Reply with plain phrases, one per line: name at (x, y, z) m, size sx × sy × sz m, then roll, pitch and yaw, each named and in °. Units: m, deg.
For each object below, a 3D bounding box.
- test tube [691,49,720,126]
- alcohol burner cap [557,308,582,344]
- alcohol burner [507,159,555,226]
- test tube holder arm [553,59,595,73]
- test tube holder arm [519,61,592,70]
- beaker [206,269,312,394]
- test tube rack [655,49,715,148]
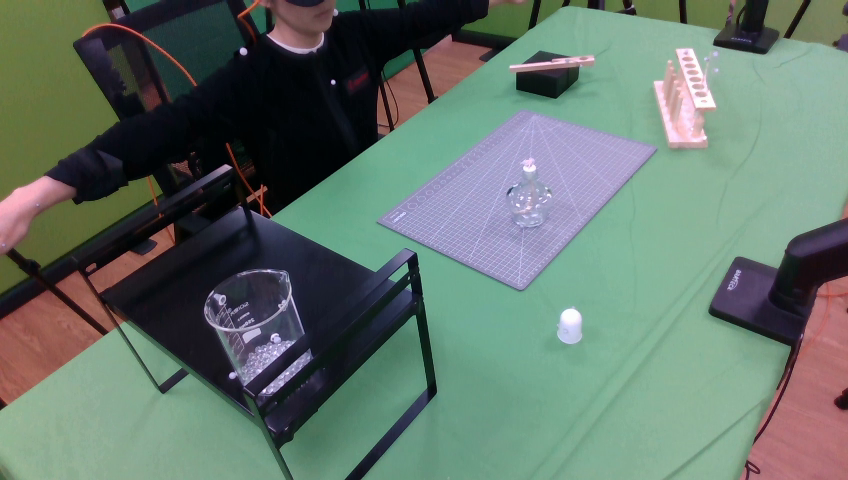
test tube at (0.505, -0.270, 1.087) m, size 0.017 × 0.151 × 0.017 m, roll -2°, pitch 41°, yaw 2°
alcohol burner cap at (0.194, 0.111, 0.802) m, size 0.034 × 0.048 × 0.033 m, roll -4°, pitch 39°, yaw 3°
alcohol burner at (0.172, -0.081, 0.969) m, size 0.078 × 0.119 × 0.077 m, roll -4°, pitch 43°, yaw 4°
test tube holder arm at (0.320, -0.372, 1.291) m, size 0.088 × 0.010 × 0.015 m, roll -9°, pitch 81°, yaw 1°
test tube holder arm at (0.278, -0.368, 1.274) m, size 0.179 × 0.013 × 0.015 m, roll -5°, pitch 82°, yaw -24°
beaker at (-0.146, 0.086, 0.560) m, size 0.073 × 0.101 × 0.084 m, roll 19°, pitch 46°, yaw 27°
test tube rack at (0.502, -0.280, 1.177) m, size 0.066 × 0.085 × 0.241 m, roll 1°, pitch 41°, yaw 12°
